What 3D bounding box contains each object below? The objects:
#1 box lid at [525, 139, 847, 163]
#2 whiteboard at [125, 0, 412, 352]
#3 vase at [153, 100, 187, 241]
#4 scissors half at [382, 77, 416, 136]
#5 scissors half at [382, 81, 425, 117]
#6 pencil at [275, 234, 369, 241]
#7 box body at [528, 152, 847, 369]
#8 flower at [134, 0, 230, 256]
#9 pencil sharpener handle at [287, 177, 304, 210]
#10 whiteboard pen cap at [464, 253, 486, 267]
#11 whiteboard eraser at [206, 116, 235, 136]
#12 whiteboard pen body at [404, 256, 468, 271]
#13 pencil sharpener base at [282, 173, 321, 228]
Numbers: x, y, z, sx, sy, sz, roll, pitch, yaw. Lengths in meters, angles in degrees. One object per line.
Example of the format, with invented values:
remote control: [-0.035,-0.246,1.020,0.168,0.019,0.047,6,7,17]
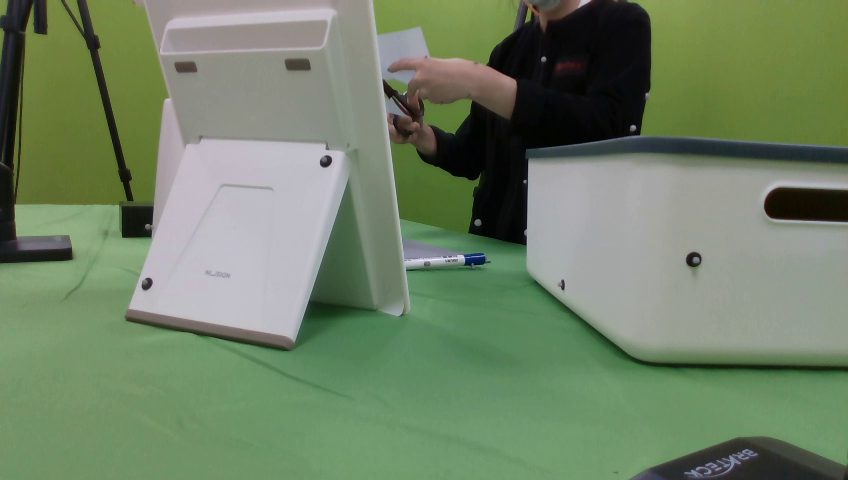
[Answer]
box lid: [0.261,-0.078,0.580,0.264,0.015,0.371,2,7,-4]
whiteboard: [-0.151,-0.049,0.472,0.216,0.305,0.144,6,27,24]
vase: [-0.278,-0.066,0.736,0.098,0.200,0.098,2,9,0]
scissors half: [-0.062,-0.248,1.064,0.012,0.040,0.176,19,-26,41]
scissors half: [-0.052,-0.266,1.069,0.013,0.040,0.176,13,-7,40]
pencil: [-0.169,-0.006,1.036,0.195,0.012,0.012,-2,9,-45]
box body: [0.257,-0.005,0.591,0.254,0.160,0.363,2,7,-4]
flower: [-0.282,-0.147,0.713,0.038,0.362,0.044,-23,24,-31]
pencil sharpener handle: [-0.269,-0.096,1.257,0.036,0.067,0.030,-8,8,-27]
whiteboard pen cap: [0.066,0.027,0.818,0.033,0.018,0.018,-6,10,-24]
whiteboard eraser: [-0.450,-0.252,1.335,0.056,0.042,0.112,1,7,-22]
whiteboard pen body: [0.013,0.030,0.792,0.141,0.017,0.017,-3,9,-24]
pencil sharpener base: [-0.247,-0.080,1.212,0.061,0.107,0.076,-2,5,-28]
